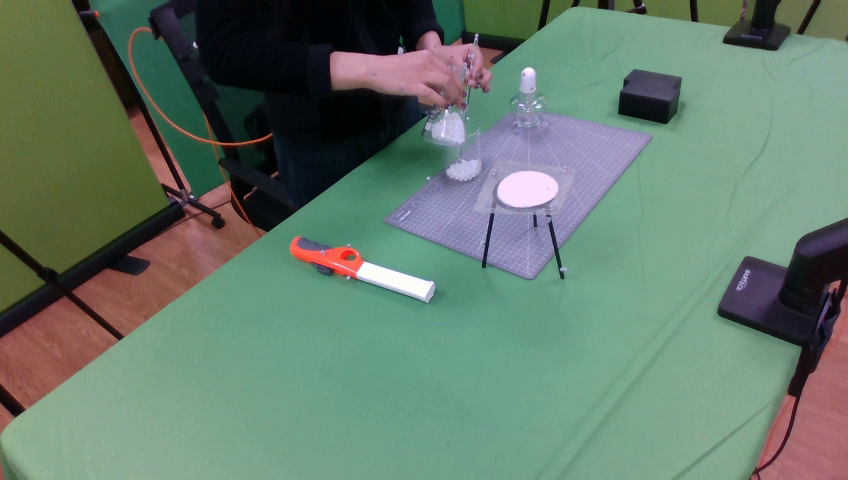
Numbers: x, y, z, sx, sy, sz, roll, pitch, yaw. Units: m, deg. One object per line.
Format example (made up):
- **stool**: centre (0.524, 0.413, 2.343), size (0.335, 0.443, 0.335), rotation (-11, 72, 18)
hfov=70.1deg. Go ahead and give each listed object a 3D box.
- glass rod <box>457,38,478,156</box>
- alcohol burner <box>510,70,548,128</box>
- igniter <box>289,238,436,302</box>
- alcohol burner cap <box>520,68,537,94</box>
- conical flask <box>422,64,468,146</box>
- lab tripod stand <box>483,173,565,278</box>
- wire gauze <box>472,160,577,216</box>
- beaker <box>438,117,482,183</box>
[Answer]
- **glass rod**: centre (0.074, -0.245, 1.044), size (0.008, 0.199, 0.008), rotation (8, 13, -1)
- **alcohol burner**: centre (0.209, -0.287, 1.208), size (0.078, 0.119, 0.077), rotation (-5, 42, 5)
- **igniter**: centre (-0.106, 0.043, 0.949), size (0.274, 0.025, 0.057), rotation (16, 57, 27)
- **alcohol burner cap**: centre (0.205, -0.313, 1.183), size (0.034, 0.048, 0.033), rotation (-3, 50, 4)
- **conical flask**: centre (0.040, -0.217, 0.967), size (0.075, 0.122, 0.075), rotation (7, 19, -2)
- **lab tripod stand**: centre (0.151, -0.025, 0.896), size (0.148, 0.132, 0.147), rotation (-7, 40, 6)
- **wire gauze**: centre (0.143, -0.073, 0.850), size (0.121, 0.011, 0.125), rotation (8, 43, 22)
- **beaker**: centre (0.068, -0.160, 1.097), size (0.073, 0.101, 0.084), rotation (7, 43, 19)
